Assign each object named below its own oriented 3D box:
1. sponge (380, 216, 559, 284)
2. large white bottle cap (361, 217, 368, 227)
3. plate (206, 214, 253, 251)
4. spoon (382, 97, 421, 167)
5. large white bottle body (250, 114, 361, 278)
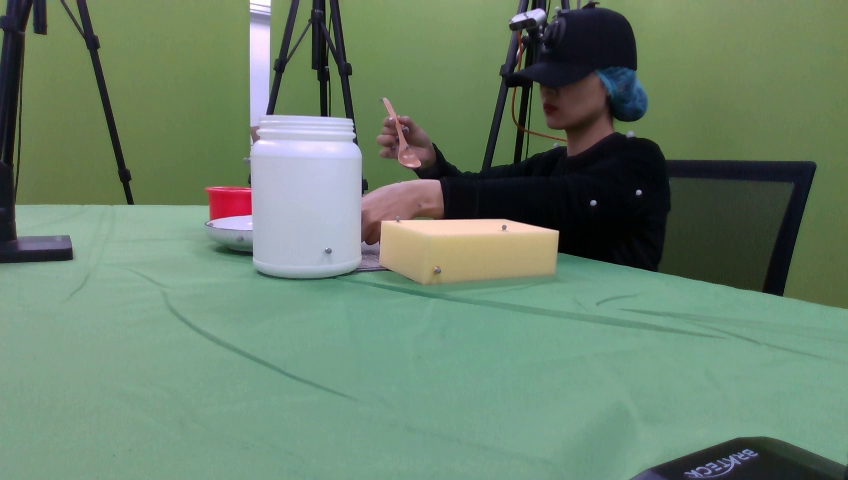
[{"bbox_3d":[0.059,0.008,0.786,0.208,0.061,0.117,-3,11,-32],"label":"sponge"},{"bbox_3d":[-0.171,-0.038,1.233,0.115,0.018,0.115,2,5,0],"label":"large white bottle cap"},{"bbox_3d":[-0.219,-0.013,0.914,0.209,0.038,0.209,-1,9,0],"label":"plate"},{"bbox_3d":[-0.048,-0.208,1.151,0.042,0.193,0.021,-5,-31,-23],"label":"spoon"},{"bbox_3d":[-0.141,-0.057,0.727,0.131,0.184,0.130,1,10,0],"label":"large white bottle body"}]
